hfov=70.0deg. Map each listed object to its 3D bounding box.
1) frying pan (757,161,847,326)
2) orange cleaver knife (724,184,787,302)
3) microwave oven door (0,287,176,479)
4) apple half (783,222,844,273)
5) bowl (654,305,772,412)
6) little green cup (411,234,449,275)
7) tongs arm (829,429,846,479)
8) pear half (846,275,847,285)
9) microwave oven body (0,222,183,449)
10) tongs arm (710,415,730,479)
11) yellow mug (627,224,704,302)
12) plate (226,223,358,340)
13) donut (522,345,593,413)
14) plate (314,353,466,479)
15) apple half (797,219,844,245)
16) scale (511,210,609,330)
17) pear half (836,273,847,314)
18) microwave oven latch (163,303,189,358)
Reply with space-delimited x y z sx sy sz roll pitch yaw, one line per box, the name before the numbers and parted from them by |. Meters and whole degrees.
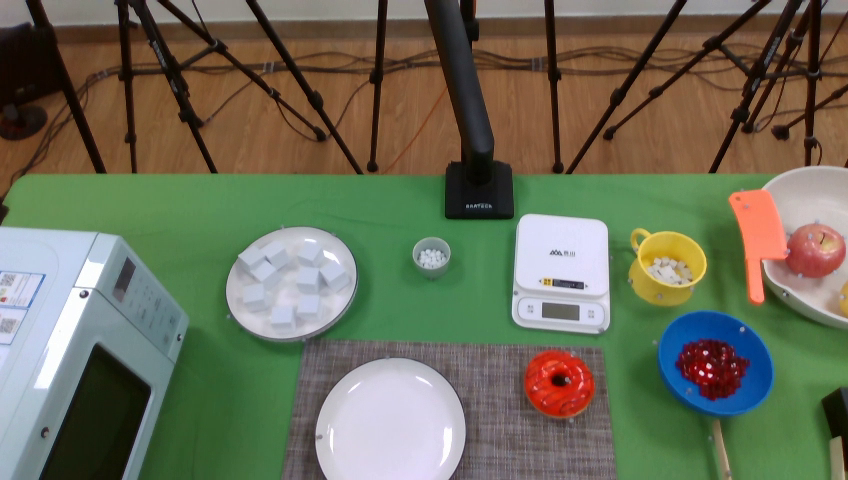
frying pan | 0.684 0.078 0.876 0.307 0.104 0.482 -22 51 -9
orange cleaver knife | 0.505 -0.002 0.915 0.077 0.012 0.209 4 59 8
microwave oven door | -0.408 0.265 0.712 0.039 0.246 0.352 3 58 5
apple half | 0.589 0.020 0.931 0.080 0.075 0.053 39 71 20
bowl | 0.391 0.175 0.847 0.151 0.077 0.150 -1 59 2
little green cup | 0.011 0.026 0.983 0.061 0.039 0.061 -1 57 3
tongs arm | 0.491 0.413 0.719 0.028 0.028 0.385 17 61 6
pear half | 0.669 0.058 0.893 0.070 0.089 0.031 31 66 24
microwave oven body | -0.548 0.224 0.750 0.326 0.262 0.438 3 59 5
tongs arm | 0.406 0.404 0.727 0.051 0.027 0.381 3 59 1
yellow mug | 0.365 0.027 0.948 0.100 0.064 0.129 -27 59 -13
plate | -0.207 0.068 0.968 0.207 0.039 0.205 -1 58 2
donut | 0.188 0.196 0.859 0.099 0.048 0.098 -2 58 4
plate | -0.045 0.260 0.834 0.209 0.038 0.207 -1 58 2
apple half | 0.615 -0.005 0.944 0.080 0.082 0.033 38 70 24
scale | 0.217 0.044 0.965 0.148 0.032 0.199 5 59 6
pear half | 0.644 0.076 0.871 0.076 0.111 0.056 32 65 25
microwave oven latch | -0.379 0.135 0.912 0.030 0.030 0.078 5 59 6
